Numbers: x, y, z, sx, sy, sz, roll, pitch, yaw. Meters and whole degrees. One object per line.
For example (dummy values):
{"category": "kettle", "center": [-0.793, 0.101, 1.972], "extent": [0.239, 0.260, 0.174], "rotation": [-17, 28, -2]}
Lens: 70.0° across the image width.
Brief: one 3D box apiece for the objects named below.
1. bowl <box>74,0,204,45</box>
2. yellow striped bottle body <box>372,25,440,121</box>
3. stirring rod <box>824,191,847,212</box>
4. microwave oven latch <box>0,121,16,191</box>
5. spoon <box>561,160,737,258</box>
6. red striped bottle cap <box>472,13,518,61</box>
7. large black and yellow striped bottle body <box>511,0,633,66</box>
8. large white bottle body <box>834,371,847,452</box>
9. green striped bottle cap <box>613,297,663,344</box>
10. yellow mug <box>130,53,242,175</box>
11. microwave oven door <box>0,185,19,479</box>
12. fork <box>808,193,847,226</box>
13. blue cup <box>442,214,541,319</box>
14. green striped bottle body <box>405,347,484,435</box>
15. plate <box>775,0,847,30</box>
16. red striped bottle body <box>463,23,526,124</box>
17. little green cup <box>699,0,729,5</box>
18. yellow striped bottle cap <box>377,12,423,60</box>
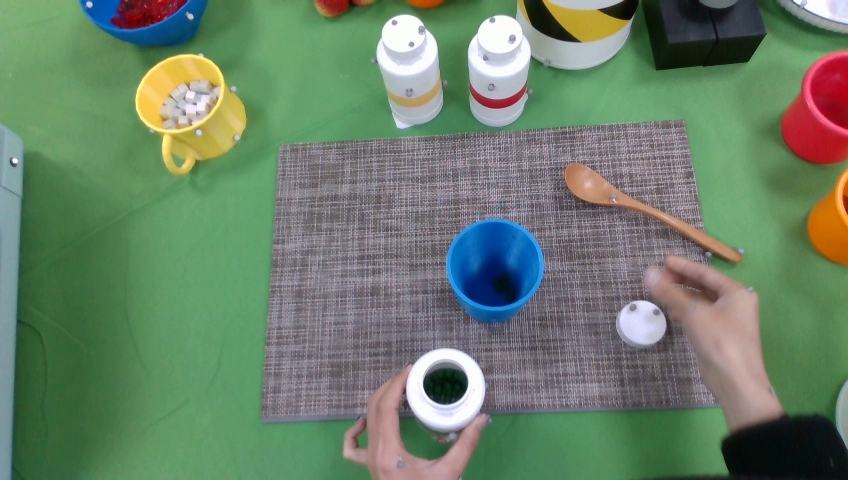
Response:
{"category": "bowl", "center": [-0.326, -0.290, 0.728], "extent": [0.151, 0.077, 0.150], "rotation": [-1, 71, 4]}
{"category": "yellow striped bottle body", "center": [-0.018, -0.183, 0.642], "extent": [0.063, 0.121, 0.062], "rotation": [-2, 71, 5]}
{"category": "stirring rod", "center": [0.409, -0.007, 0.537], "extent": [0.014, 0.006, 0.174], "rotation": [-1, 28, 3]}
{"category": "microwave oven latch", "center": [-0.476, -0.092, 0.675], "extent": [0.030, 0.030, 0.078], "rotation": [-10, 71, 1]}
{"category": "spoon", "center": [0.227, -0.030, 0.617], "extent": [0.193, 0.022, 0.041], "rotation": [28, 57, 13]}
{"category": "red striped bottle cap", "center": [0.069, -0.196, 0.583], "extent": [0.044, 0.018, 0.044], "rotation": [0, 70, 1]}
{"category": "large black and yellow striped bottle body", "center": [0.159, -0.285, 0.628], "extent": [0.130, 0.185, 0.130], "rotation": [-2, 71, 5]}
{"category": "large white bottle body", "center": [0.426, 0.135, 0.461], "extent": [0.130, 0.186, 0.129], "rotation": [-2, 70, 5]}
{"category": "green striped bottle cap", "center": [0.207, 0.078, 0.586], "extent": [0.044, 0.020, 0.044], "rotation": [-2, 72, 6]}
{"category": "yellow mug", "center": [-0.267, -0.135, 0.676], "extent": [0.100, 0.064, 0.130], "rotation": [7, 73, 6]}
{"category": "microwave oven door", "center": [-0.445, 0.077, 0.508], "extent": [0.039, 0.245, 0.353], "rotation": [-12, 70, 1]}
{"category": "fork", "center": [0.439, -0.007, 0.527], "extent": [0.028, 0.019, 0.205], "rotation": [-41, 29, -8]}
{"category": "blue cup", "center": [0.061, 0.034, 0.568], "extent": [0.092, 0.101, 0.092], "rotation": [-1, 70, 3]}
{"category": "green striped bottle body", "center": [0.017, 0.127, 0.506], "extent": [0.063, 0.120, 0.062], "rotation": [0, 68, 1]}
{"category": "plate", "center": [0.477, -0.323, 0.690], "extent": [0.209, 0.038, 0.208], "rotation": [-1, 72, 4]}
{"category": "red striped bottle body", "center": [0.075, -0.178, 0.633], "extent": [0.063, 0.120, 0.062], "rotation": [-3, 69, 8]}
{"category": "little green cup", "center": [0.310, -0.281, 0.637], "extent": [0.061, 0.039, 0.061], "rotation": [-1, 70, 3]}
{"category": "yellow striped bottle cap", "center": [-0.023, -0.200, 0.594], "extent": [0.044, 0.019, 0.044], "rotation": [-1, 72, 4]}
